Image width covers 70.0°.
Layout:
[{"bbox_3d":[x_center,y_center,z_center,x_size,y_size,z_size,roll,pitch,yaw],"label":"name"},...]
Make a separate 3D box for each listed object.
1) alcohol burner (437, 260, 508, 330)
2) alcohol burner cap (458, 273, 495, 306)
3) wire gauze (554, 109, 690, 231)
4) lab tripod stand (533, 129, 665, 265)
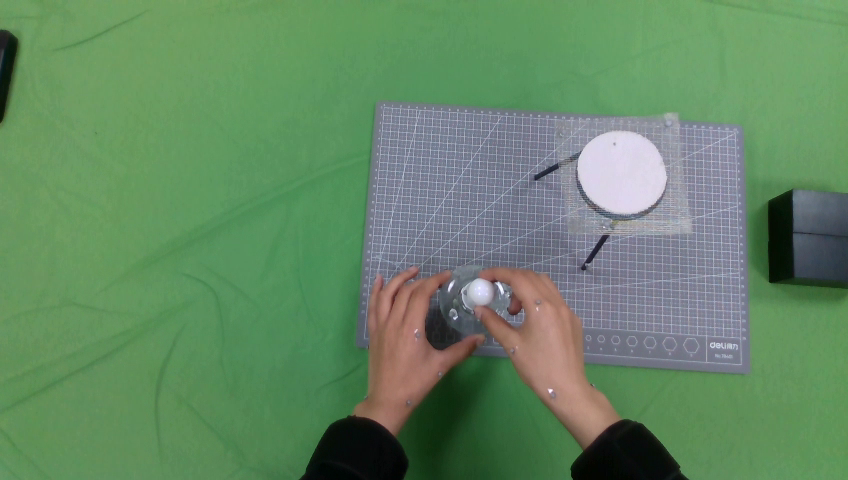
[{"bbox_3d":[0.054,0.056,0.642,0.078,0.119,0.077,1,78,-3],"label":"alcohol burner"},{"bbox_3d":[0.054,0.047,0.606,0.034,0.048,0.033,2,77,-7],"label":"alcohol burner cap"},{"bbox_3d":[0.193,-0.068,0.590,0.125,0.011,0.121,-2,80,-3],"label":"wire gauze"},{"bbox_3d":[0.194,-0.057,0.655,0.148,0.132,0.147,0,78,-1],"label":"lab tripod stand"}]
